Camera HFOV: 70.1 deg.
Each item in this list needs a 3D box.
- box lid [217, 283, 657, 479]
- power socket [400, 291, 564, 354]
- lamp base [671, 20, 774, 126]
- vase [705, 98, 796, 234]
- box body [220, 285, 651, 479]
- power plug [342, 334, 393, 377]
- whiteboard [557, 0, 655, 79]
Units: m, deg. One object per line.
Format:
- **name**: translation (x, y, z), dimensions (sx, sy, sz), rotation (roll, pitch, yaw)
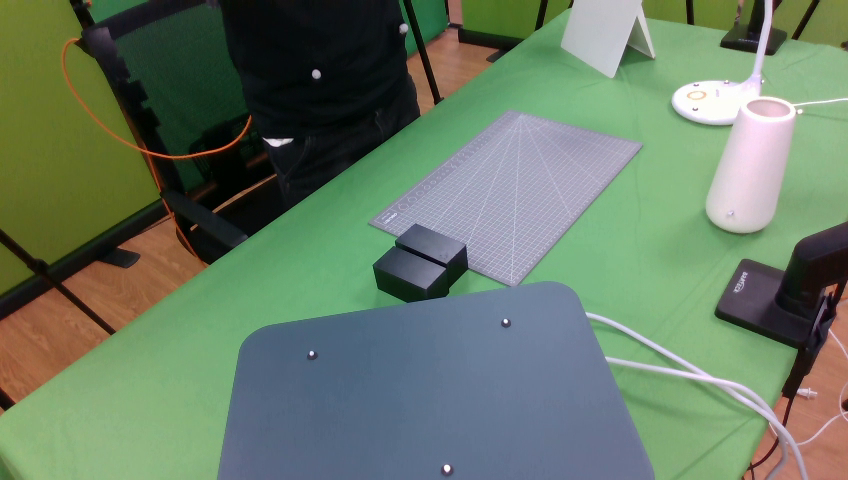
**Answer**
- **box lid**: translation (-0.004, 0.155, 0.568), dimensions (0.372, 0.015, 0.261), rotation (-8, 39, -2)
- **power socket**: translation (0.079, 0.111, 0.823), dimensions (0.227, 0.033, 0.072), rotation (-5, 41, 1)
- **lamp base**: translation (0.581, -0.332, 1.154), dimensions (0.179, 0.181, 0.160), rotation (2, 41, 7)
- **vase**: translation (0.480, -0.104, 0.889), dimensions (0.098, 0.201, 0.097), rotation (-4, 42, 4)
- **box body**: translation (0.005, 0.211, 0.616), dimensions (0.364, 0.161, 0.252), rotation (-9, 40, -2)
- **power plug**: translation (-0.075, 0.156, 0.807), dimensions (0.073, 0.035, 0.052), rotation (31, 39, -14)
- **whiteboard**: translation (0.462, -0.542, 1.367), dimensions (0.145, 0.306, 0.215), rotation (-3, 36, -25)
